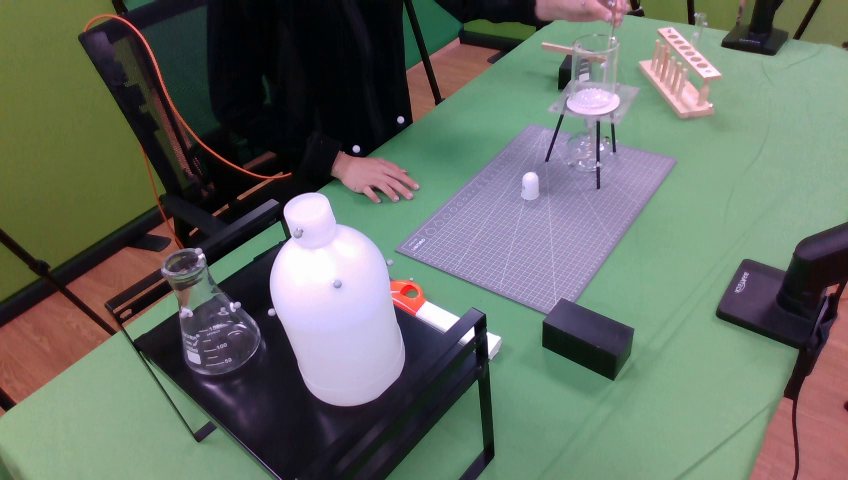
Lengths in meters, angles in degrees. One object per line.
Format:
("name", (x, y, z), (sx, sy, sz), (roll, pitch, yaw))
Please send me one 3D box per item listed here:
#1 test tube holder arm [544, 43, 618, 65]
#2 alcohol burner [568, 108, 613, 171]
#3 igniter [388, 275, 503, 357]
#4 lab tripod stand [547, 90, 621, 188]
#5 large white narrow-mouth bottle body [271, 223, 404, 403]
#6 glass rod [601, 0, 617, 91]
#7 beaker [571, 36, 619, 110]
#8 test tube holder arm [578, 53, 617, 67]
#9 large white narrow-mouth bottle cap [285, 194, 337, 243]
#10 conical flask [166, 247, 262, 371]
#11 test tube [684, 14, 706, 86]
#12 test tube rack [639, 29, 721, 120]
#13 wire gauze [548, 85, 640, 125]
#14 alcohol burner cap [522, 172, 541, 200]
("test tube holder arm", (0.345, -0.413, 1.341), (0.177, 0.015, 0.013), (25, 49, 32))
("alcohol burner", (0.296, -0.182, 1.074), (0.078, 0.119, 0.077), (-5, 43, 5))
("igniter", (-0.008, 0.093, 0.870), (0.274, 0.025, 0.057), (24, 60, 33))
("lab tripod stand", (0.289, -0.184, 1.062), (0.148, 0.132, 0.147), (-6, 41, 6))
("large white narrow-mouth bottle body", (-0.077, 0.048, 0.525), (0.102, 0.195, 0.101), (-5, 40, 4))
("glass rod", (0.295, -0.322, 0.958), (0.008, 0.200, 0.008), (-4, 48, 5))
("beaker", (0.281, -0.273, 0.992), (0.084, 0.101, 0.073), (-24, 42, -16))
("test tube holder arm", (0.376, -0.394, 1.314), (0.087, 0.015, 0.010), (26, 50, 32))
("large white narrow-mouth bottle cap", (-0.087, -0.017, 0.468), (0.038, 0.024, 0.037), (-4, 40, 4))
("conical flask", (-0.209, 0.064, 0.585), (0.075, 0.122, 0.075), (-5, 40, 4))
("test tube", (0.541, -0.378, 1.215), (0.017, 0.151, 0.017), (-2, 44, 3))
("test tube rack", (0.527, -0.351, 1.262), (0.067, 0.085, 0.241), (-8, 40, 1))
("wire gauze", (0.286, -0.233, 1.020), (0.124, 0.011, 0.122), (15, 43, 30))
("alcohol burner cap", (0.186, -0.096, 1.047), (0.034, 0.048, 0.033), (-5, 39, 4))
